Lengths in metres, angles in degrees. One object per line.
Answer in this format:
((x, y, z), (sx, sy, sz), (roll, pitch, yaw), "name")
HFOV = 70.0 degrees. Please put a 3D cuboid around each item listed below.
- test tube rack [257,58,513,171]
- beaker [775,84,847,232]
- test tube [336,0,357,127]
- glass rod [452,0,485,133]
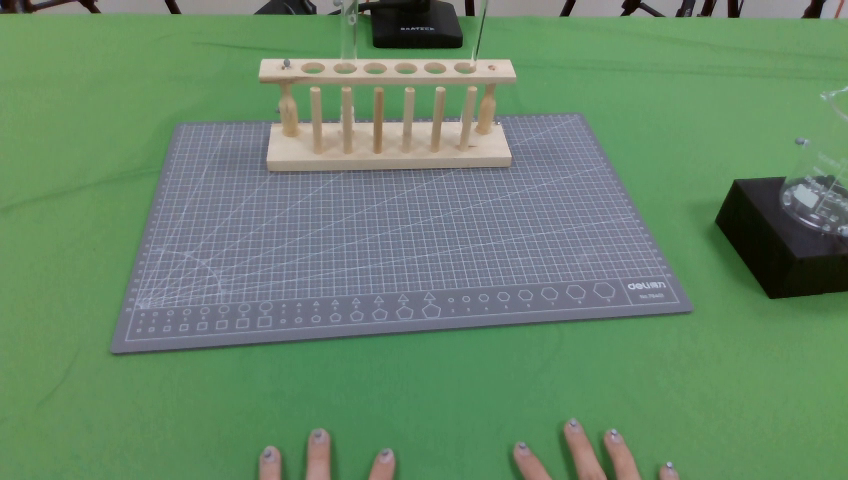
((-0.036, -0.125, 0.600), (0.243, 0.086, 0.066), (-2, 44, -7), "test tube rack")
((0.336, -0.064, 0.487), (0.074, 0.101, 0.083), (-27, 51, -28), "beaker")
((-0.074, -0.171, 0.574), (0.017, 0.151, 0.017), (5, 42, -4), "test tube")
((0.045, -0.183, 0.570), (0.008, 0.201, 0.008), (5, 46, -5), "glass rod")
